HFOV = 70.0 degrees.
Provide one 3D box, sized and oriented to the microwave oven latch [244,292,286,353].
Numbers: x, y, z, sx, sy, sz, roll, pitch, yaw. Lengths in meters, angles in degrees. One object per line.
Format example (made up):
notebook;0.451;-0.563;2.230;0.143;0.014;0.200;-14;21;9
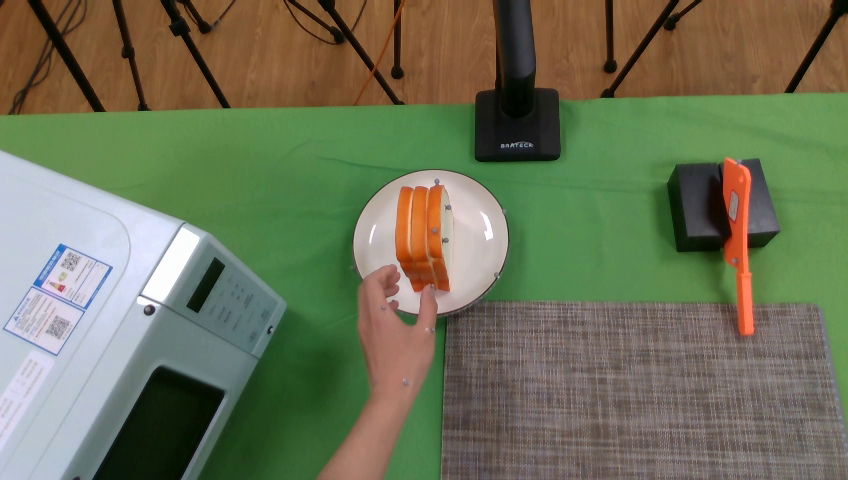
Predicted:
microwave oven latch;-0.204;0.102;0.767;0.030;0.030;0.079;21;73;14

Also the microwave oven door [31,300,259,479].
microwave oven door;-0.304;0.252;0.607;0.039;0.246;0.354;19;71;15

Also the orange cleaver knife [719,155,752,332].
orange cleaver knife;0.373;0.003;0.729;0.012;0.077;0.211;-6;97;4

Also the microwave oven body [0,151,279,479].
microwave oven body;-0.420;0.171;0.659;0.325;0.262;0.440;20;72;14

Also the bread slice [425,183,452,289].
bread slice;0.020;-0.006;0.743;0.018;0.135;0.106;-3;71;8

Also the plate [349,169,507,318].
plate;0.007;0.006;0.800;0.207;0.039;0.206;-2;68;6
